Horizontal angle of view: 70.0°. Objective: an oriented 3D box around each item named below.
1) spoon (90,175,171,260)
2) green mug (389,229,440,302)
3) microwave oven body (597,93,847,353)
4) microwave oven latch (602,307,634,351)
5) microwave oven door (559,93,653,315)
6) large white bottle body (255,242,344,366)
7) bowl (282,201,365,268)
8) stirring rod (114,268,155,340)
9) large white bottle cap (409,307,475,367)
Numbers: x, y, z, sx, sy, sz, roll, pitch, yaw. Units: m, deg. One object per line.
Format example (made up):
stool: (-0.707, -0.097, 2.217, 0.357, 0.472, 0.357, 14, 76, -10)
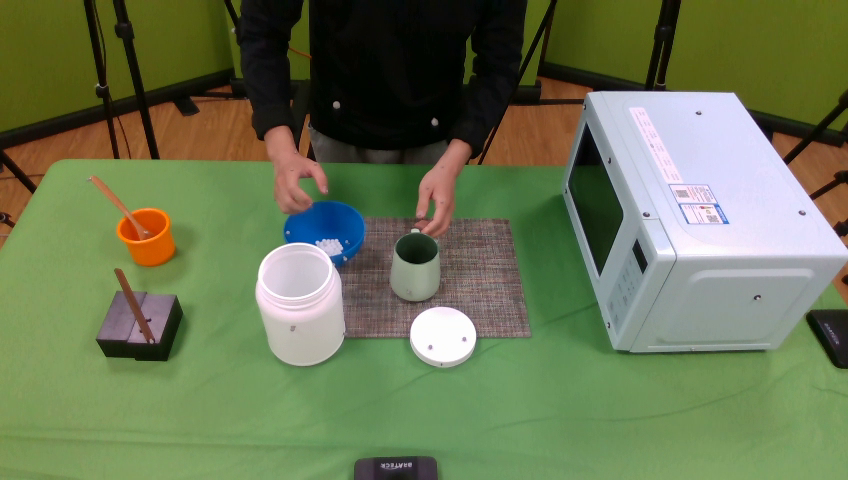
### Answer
spoon: (-0.539, -0.042, 1.111, 0.041, 0.194, 0.021, -46, 19, -32)
green mug: (-0.017, 0.038, 1.100, 0.092, 0.105, 0.124, 0, 46, -4)
microwave oven body: (0.475, -0.041, 1.109, 0.326, 0.261, 0.438, -1, 45, -4)
microwave oven latch: (0.332, 0.153, 1.043, 0.030, 0.029, 0.078, -1, 45, -4)
microwave oven door: (0.327, -0.074, 1.123, 0.039, 0.245, 0.353, -1, 46, -5)
large white bottle body: (-0.196, 0.102, 0.967, 0.131, 0.185, 0.130, 2, 49, -2)
bowl: (-0.187, 0.005, 1.138, 0.151, 0.077, 0.150, 3, 46, -3)
stirring rod: (-0.479, 0.103, 0.999, 0.014, 0.006, 0.175, 7, 32, -50)
large white bottle cap: (0.031, 0.165, 1.041, 0.115, 0.018, 0.114, 2, 47, -2)
